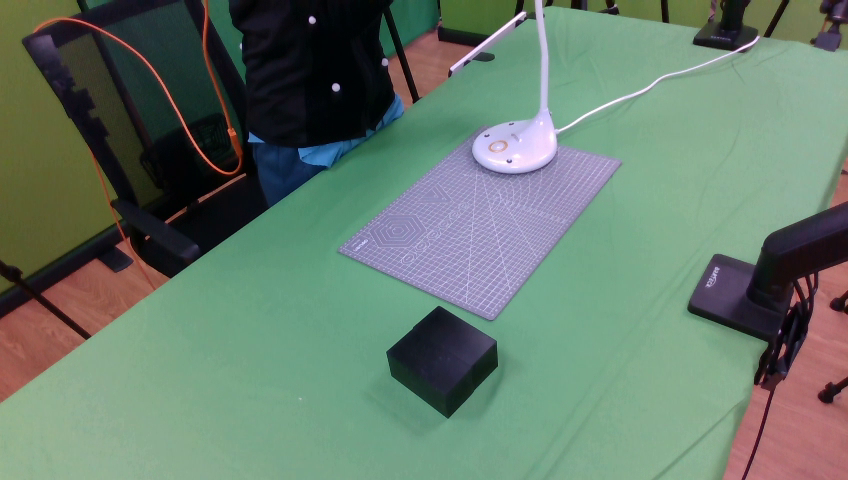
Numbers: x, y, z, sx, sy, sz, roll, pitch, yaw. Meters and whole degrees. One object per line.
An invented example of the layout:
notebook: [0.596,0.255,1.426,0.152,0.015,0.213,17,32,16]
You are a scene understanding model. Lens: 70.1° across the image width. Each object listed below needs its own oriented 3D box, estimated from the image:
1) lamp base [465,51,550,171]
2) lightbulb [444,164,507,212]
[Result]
lamp base: [0.159,-0.243,1.103,0.180,0.181,0.159,-31,46,-29]
lightbulb: [0.081,-0.075,0.930,0.108,0.059,0.059,28,38,-17]
